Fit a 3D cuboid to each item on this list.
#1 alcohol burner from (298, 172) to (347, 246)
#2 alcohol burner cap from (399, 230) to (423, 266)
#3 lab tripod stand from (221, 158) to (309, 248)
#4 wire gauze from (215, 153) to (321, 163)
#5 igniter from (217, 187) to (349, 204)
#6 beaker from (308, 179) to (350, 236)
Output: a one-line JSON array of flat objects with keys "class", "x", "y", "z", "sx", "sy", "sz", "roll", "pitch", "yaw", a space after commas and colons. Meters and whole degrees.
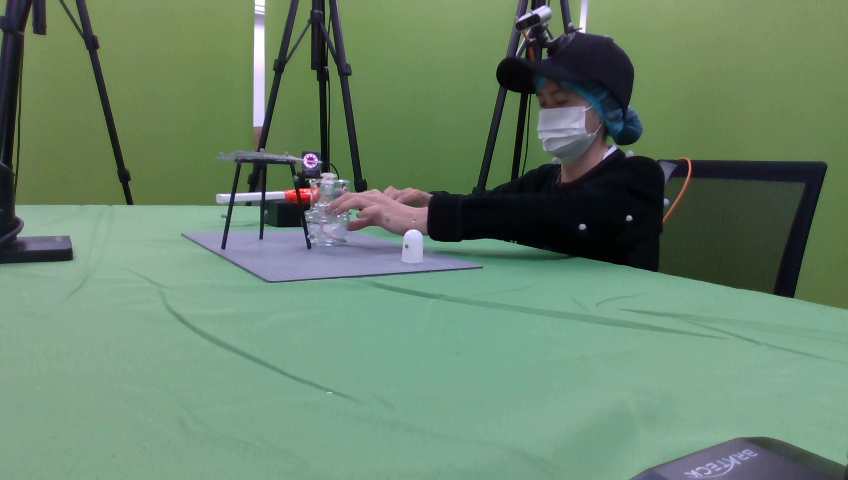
[{"class": "alcohol burner", "x": -0.161, "y": -0.050, "z": 0.969, "sx": 0.078, "sy": 0.119, "sz": 0.078, "roll": 4, "pitch": 6, "yaw": 0}, {"class": "alcohol burner cap", "x": -0.017, "y": 0.010, "z": 0.837, "sx": 0.034, "sy": 0.048, "sz": 0.034, "roll": 3, "pitch": 7, "yaw": 0}, {"class": "lab tripod stand", "x": -0.244, "y": -0.057, "z": 0.917, "sx": 0.148, "sy": 0.131, "sz": 0.148, "roll": 1, "pitch": 7, "yaw": 0}, {"class": "wire gauze", "x": -0.235, "y": -0.123, "z": 0.906, "sx": 0.126, "sy": 0.011, "sz": 0.121, "roll": -2, "pitch": 7, "yaw": -33}, {"class": "igniter", "x": -0.285, "y": -0.093, "z": 1.256, "sx": 0.278, "sy": 0.025, "sz": 0.057, "roll": -6, "pitch": 12, "yaw": -34}, {"class": "beaker", "x": -0.176, "y": -0.060, "z": 1.104, "sx": 0.073, "sy": 0.100, "sz": 0.084, "roll": 8, "pitch": 10, "yaw": 39}]
